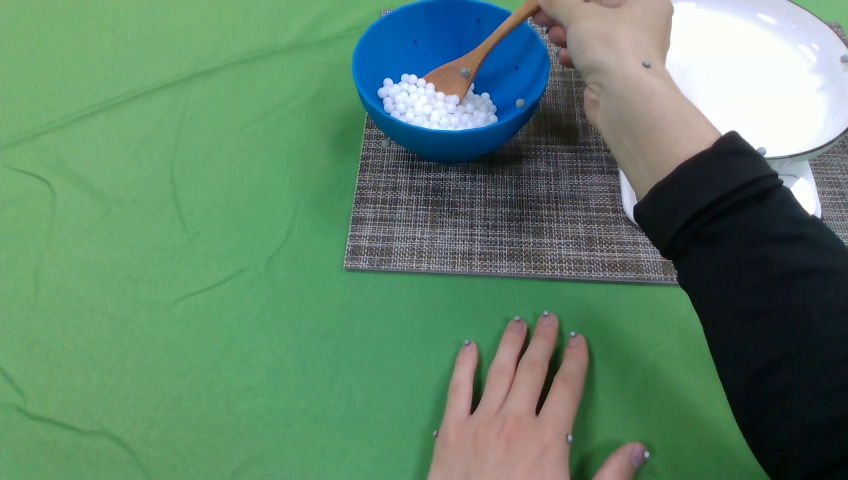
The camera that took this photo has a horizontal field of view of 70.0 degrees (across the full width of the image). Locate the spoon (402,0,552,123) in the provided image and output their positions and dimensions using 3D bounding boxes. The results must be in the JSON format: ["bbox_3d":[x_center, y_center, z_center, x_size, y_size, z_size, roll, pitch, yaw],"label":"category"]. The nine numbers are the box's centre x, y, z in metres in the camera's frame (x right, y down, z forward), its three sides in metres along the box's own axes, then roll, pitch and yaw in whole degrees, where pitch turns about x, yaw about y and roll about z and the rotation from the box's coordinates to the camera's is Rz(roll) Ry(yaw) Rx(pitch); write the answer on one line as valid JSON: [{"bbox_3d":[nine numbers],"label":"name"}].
[{"bbox_3d":[0.056,-0.152,0.457,0.022,0.194,0.041,0,61,-52],"label":"spoon"}]

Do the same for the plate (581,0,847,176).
[{"bbox_3d":[0.228,-0.129,0.486,0.209,0.038,0.207,0,57,0],"label":"plate"}]

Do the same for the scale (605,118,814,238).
[{"bbox_3d":[0.226,-0.092,0.501,0.148,0.032,0.199,2,57,2],"label":"scale"}]

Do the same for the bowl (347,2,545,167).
[{"bbox_3d":[0.017,-0.112,0.488,0.151,0.077,0.150,0,57,1],"label":"bowl"}]
